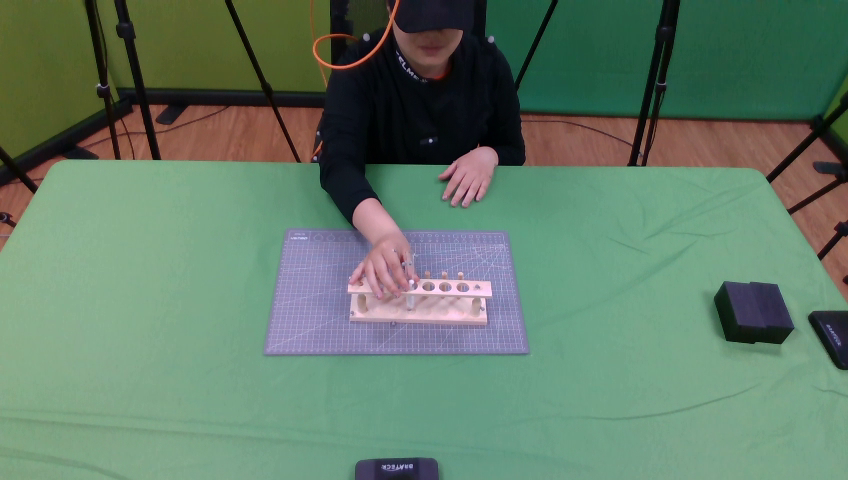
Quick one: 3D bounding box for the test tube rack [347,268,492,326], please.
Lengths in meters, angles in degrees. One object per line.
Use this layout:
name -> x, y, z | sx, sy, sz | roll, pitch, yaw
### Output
test tube rack -> -0.009, 0.095, 1.059 | 0.242, 0.085, 0.066 | 2, 46, -2

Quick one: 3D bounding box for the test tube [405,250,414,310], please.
test tube -> -0.024, 0.069, 1.011 | 0.017, 0.151, 0.017 | 1, 48, -1
